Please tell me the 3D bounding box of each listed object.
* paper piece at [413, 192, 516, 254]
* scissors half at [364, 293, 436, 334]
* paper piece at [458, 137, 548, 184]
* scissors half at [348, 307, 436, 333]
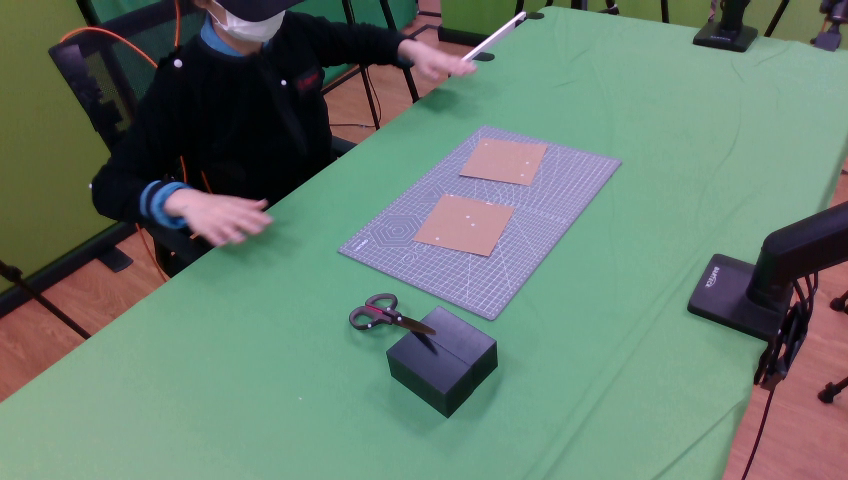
[{"bbox_3d":[0.068,-0.030,1.000,0.134,0.004,0.136,12,44,23],"label":"paper piece"},{"bbox_3d":[-0.032,0.100,0.815,0.040,0.013,0.173,-40,28,-18],"label":"scissors half"},{"bbox_3d":[0.150,-0.152,1.131,0.135,0.009,0.138,15,43,17],"label":"paper piece"},{"bbox_3d":[-0.046,0.111,0.805,0.174,0.013,0.040,-1,33,45],"label":"scissors half"}]
